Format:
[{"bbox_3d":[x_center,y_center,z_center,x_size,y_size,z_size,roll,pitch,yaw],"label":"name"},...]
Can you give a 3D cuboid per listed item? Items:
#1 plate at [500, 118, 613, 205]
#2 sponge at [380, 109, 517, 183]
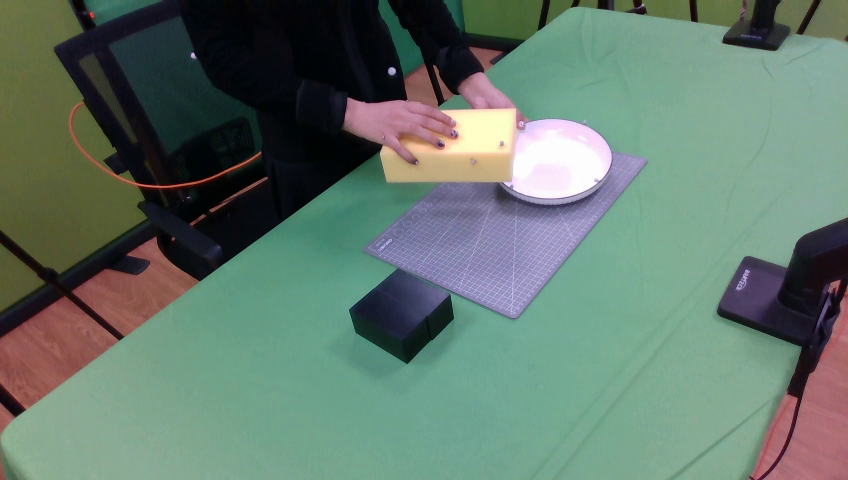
[{"bbox_3d":[0.223,-0.135,1.065,0.209,0.038,0.208,-4,50,5],"label":"plate"},{"bbox_3d":[0.044,-0.153,0.983,0.206,0.061,0.118,1,47,10],"label":"sponge"}]
